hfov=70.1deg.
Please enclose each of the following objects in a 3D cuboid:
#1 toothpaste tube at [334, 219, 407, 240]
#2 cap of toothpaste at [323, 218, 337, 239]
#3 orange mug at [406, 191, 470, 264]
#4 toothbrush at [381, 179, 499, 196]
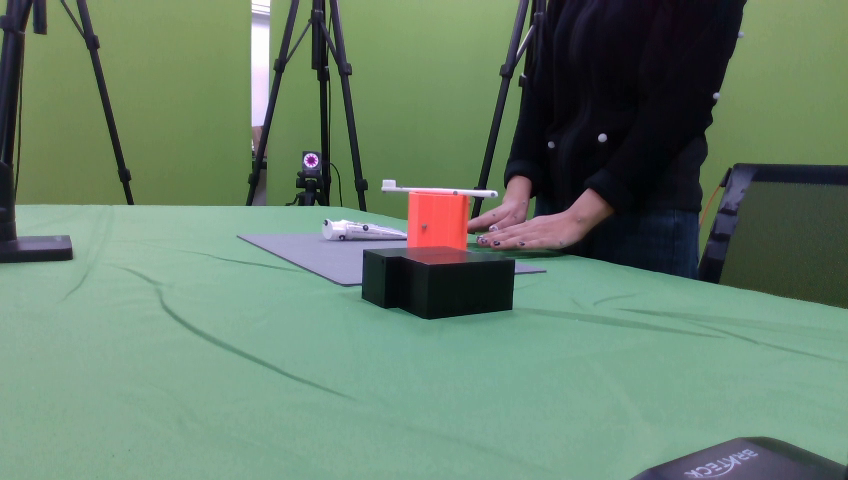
[{"bbox_3d":[-0.084,-0.015,1.052,0.166,0.034,0.055,2,13,-29],"label":"toothpaste tube"},{"bbox_3d":[-0.157,-0.019,1.013,0.011,0.037,0.037,-8,12,-40],"label":"cap of toothpaste"},{"bbox_3d":[0.027,-0.023,0.866,0.083,0.101,0.126,6,12,24],"label":"orange mug"},{"bbox_3d":[0.019,-0.073,0.841,0.181,0.016,0.014,6,3,27],"label":"toothbrush"}]
